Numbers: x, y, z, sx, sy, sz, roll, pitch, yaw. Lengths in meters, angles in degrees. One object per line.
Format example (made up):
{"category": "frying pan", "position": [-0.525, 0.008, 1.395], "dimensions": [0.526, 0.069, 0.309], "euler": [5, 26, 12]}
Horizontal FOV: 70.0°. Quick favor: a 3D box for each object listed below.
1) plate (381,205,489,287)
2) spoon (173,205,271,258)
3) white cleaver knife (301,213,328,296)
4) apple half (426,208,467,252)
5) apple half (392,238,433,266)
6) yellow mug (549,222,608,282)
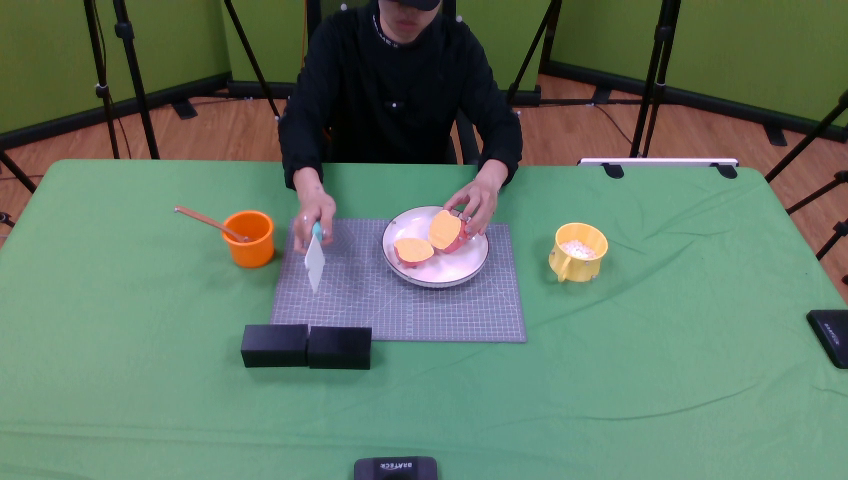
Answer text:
{"category": "plate", "position": [0.021, 0.015, 1.170], "dimensions": [0.209, 0.038, 0.208], "euler": [2, 46, -2]}
{"category": "spoon", "position": [-0.362, -0.017, 1.098], "dimensions": [0.021, 0.195, 0.041], "euler": [-32, 42, 27]}
{"category": "white cleaver knife", "position": [-0.186, 0.018, 1.038], "dimensions": [0.021, 0.066, 0.285], "euler": [-12, 19, 1]}
{"category": "apple half", "position": [0.048, -0.014, 1.167], "dimensions": [0.080, 0.053, 0.074], "euler": [30, 91, 40]}
{"category": "apple half", "position": [-0.023, 0.028, 1.147], "dimensions": [0.081, 0.033, 0.081], "euler": [8, 33, -5]}
{"category": "yellow mug", "position": [0.287, 0.031, 1.159], "dimensions": [0.099, 0.064, 0.130], "euler": [27, 51, 21]}
